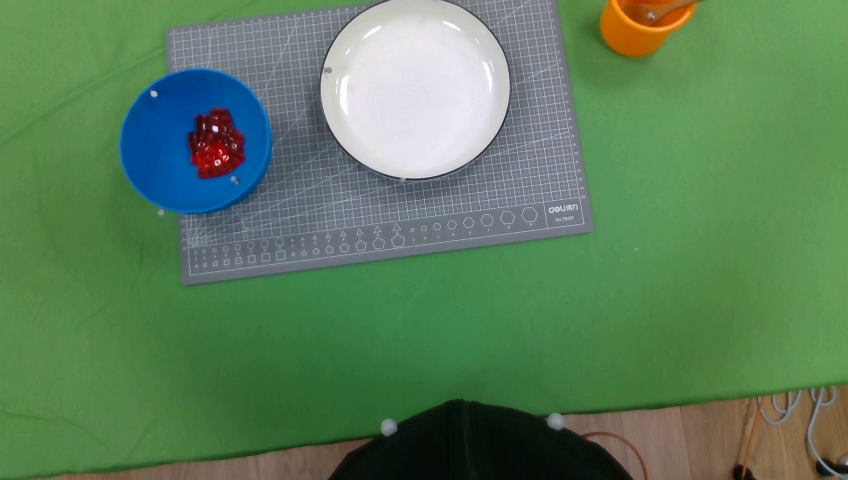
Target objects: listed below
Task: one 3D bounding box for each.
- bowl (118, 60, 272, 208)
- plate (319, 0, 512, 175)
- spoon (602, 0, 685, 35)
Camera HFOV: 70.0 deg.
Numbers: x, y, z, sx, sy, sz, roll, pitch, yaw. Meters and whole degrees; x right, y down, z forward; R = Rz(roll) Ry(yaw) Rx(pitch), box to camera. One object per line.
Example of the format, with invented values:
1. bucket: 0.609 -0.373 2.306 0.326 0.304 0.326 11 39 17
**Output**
1. bowl: -0.227 -0.101 0.636 0.151 0.077 0.151 0 82 0
2. plate: -0.009 -0.170 0.664 0.209 0.038 0.208 0 82 1
3. spoon: 0.273 -0.249 0.620 0.022 0.192 0.041 11 82 -42
